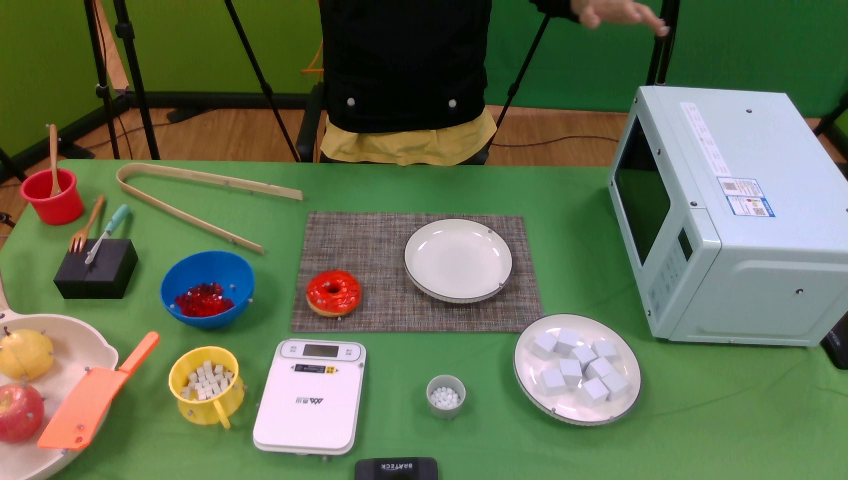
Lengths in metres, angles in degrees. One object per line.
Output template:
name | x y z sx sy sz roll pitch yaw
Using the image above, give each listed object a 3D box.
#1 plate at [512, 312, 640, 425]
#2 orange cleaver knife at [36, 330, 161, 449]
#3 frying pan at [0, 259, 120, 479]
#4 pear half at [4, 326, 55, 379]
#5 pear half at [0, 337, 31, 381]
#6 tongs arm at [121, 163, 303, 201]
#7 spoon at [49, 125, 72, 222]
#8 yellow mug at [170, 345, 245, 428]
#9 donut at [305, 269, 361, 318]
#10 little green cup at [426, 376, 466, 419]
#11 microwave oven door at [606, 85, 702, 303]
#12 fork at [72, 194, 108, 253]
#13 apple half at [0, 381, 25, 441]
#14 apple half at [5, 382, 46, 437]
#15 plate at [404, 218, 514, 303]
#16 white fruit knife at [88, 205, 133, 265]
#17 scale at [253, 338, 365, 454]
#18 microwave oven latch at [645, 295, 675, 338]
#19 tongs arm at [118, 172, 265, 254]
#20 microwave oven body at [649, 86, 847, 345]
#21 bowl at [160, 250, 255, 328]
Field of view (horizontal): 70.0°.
plate | 0.246 0.213 0.999 0.208 0.039 0.206 2 46 -2
orange cleaver knife | -0.466 0.210 0.880 0.077 0.012 0.210 15 46 9
frying pan | -0.647 0.164 0.936 0.307 0.103 0.485 -19 58 -22
pear half | -0.609 0.159 0.933 0.076 0.110 0.056 32 52 20
pear half | -0.632 0.185 0.920 0.070 0.088 0.031 30 49 20
tongs arm | -0.444 -0.114 1.266 0.384 0.026 0.050 12 51 7
spoon | -0.718 -0.131 1.189 0.041 0.021 0.193 -4 90 -6
yellow mug | -0.322 0.230 0.922 0.100 0.064 0.130 -24 53 -25
donut | -0.160 0.094 1.075 0.099 0.048 0.098 4 46 -3
little green cup | 0.033 0.248 0.950 0.061 0.039 0.061 2 46 -2
microwave oven door | 0.422 -0.094 1.140 0.039 0.245 0.353 2 46 -1
fork | -0.634 -0.036 1.158 0.028 0.019 0.206 -8 32 -8
apple half | -0.604 0.250 0.871 0.053 0.075 0.080 -9 51 -7
apple half | -0.567 0.244 0.877 0.033 0.082 0.080 -9 47 -7
plate | 0.064 0.042 1.146 0.209 0.038 0.208 3 45 -2
white fruit knife | -0.584 -0.013 1.129 0.016 0.027 0.206 0 32 -5
scale | -0.175 0.236 0.951 0.149 0.032 0.199 4 45 -1
microwave oven latch | 0.412 0.134 1.061 0.030 0.029 0.078 3 45 0
tongs arm | -0.473 -0.054 1.211 0.386 0.028 0.028 23 57 17
microwave oven body | 0.567 -0.053 1.118 0.326 0.261 0.439 2 45 -1
bowl | -0.362 0.098 1.040 0.151 0.077 0.150 2 45 -2
